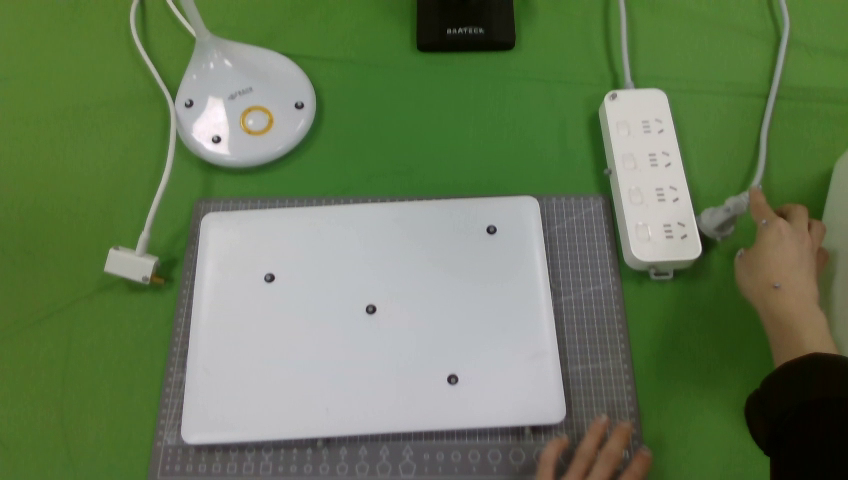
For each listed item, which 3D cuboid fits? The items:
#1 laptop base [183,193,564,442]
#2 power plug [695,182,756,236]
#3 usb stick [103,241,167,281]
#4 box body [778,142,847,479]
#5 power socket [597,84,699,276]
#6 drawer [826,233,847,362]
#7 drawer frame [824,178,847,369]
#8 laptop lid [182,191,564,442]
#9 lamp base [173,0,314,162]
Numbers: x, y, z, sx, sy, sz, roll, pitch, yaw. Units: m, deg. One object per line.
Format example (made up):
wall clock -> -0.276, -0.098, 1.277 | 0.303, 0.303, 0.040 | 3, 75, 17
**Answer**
laptop base -> -0.051, 0.069, 0.602 | 0.354, 0.023, 0.234 | -3, 70, 0
power plug -> 0.311, -0.026, 0.623 | 0.073, 0.053, 0.035 | -14, 64, -22
usb stick -> -0.290, 0.024, 0.616 | 0.059, 0.021, 0.027 | 23, 96, -15
box body -> 0.486, 0.056, 0.517 | 0.253, 0.161, 0.362 | 21, 69, 10
power socket -> 0.236, -0.072, 0.648 | 0.072, 0.033, 0.225 | -2, 67, -1
drawer -> 0.499, 0.039, 0.555 | 0.194, 0.074, 0.211 | 19, 72, 9
drawer frame -> 0.495, 0.044, 0.556 | 0.201, 0.083, 0.212 | 20, 64, 8
laptop lid -> -0.052, 0.066, 0.590 | 0.357, 0.013, 0.240 | -2, 70, 1
lamp base -> -0.217, -0.199, 0.631 | 0.160, 0.181, 0.178 | -38, 68, -14
